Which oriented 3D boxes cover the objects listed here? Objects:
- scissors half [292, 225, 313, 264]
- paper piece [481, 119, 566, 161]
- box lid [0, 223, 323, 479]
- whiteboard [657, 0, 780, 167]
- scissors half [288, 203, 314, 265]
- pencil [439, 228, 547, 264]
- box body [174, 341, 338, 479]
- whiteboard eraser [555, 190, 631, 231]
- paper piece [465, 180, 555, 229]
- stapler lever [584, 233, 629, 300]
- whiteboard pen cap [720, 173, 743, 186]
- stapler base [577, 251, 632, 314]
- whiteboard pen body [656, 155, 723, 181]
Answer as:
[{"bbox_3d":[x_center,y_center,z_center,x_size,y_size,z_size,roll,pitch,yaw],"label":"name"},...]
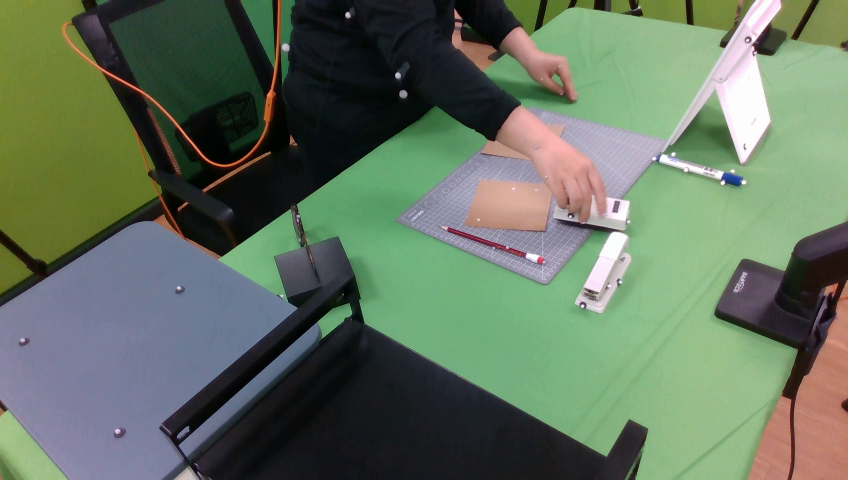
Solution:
[{"bbox_3d":[-0.189,0.008,0.955,0.013,0.040,0.174,-19,21,-13],"label":"scissors half"},{"bbox_3d":[0.197,-0.199,1.188,0.135,0.004,0.135,11,43,21],"label":"paper piece"},{"bbox_3d":[-0.318,0.109,0.671,0.368,0.015,0.264,24,49,31],"label":"box lid"},{"bbox_3d":[0.571,-0.272,1.038,0.143,0.306,0.218,37,54,17],"label":"whiteboard"},{"bbox_3d":[-0.191,-0.010,0.945,0.013,0.040,0.173,-15,38,-16],"label":"scissors half"},{"bbox_3d":[0.105,0.007,0.957,0.192,0.012,0.012,18,46,30],"label":"pencil"},{"bbox_3d":[-0.311,0.165,0.720,0.361,0.161,0.255,23,48,32],"label":"box body"},{"bbox_3d":[0.270,-0.045,0.965,0.112,0.042,0.055,10,41,18],"label":"whiteboard eraser"},{"bbox_3d":[0.149,-0.062,1.035,0.137,0.009,0.136,5,38,16],"label":"paper piece"},{"bbox_3d":[0.260,0.034,0.858,0.026,0.040,0.118,16,46,30],"label":"stapler lever"},{"bbox_3d":[0.519,-0.103,1.020,0.033,0.018,0.018,23,49,29],"label":"whiteboard pen cap"},{"bbox_3d":[0.264,0.051,0.875,0.041,0.024,0.131,16,47,30],"label":"stapler base"},{"bbox_3d":[0.475,-0.122,1.052,0.139,0.017,0.017,24,49,32],"label":"whiteboard pen body"}]
